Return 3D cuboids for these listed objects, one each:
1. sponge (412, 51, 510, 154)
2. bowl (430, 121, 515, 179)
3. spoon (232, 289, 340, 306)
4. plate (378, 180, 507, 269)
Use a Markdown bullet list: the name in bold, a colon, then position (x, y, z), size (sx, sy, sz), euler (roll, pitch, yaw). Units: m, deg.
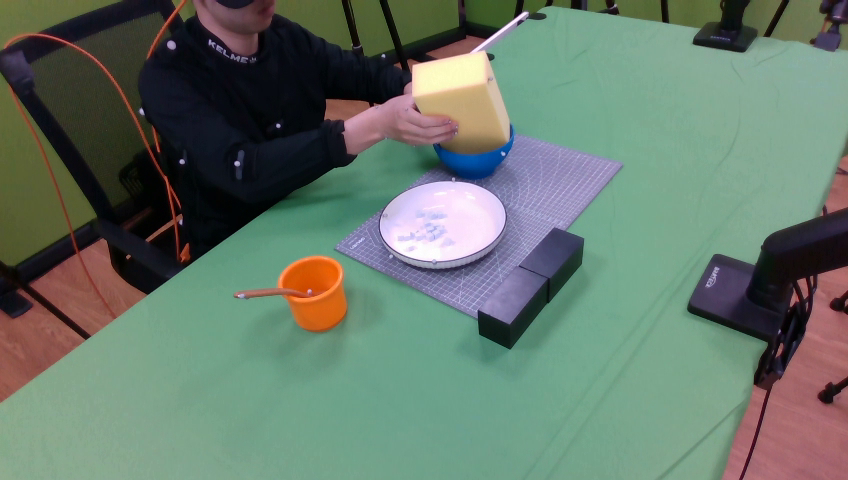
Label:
- **sponge**: position (0.067, -0.215, 1.005), size (0.118, 0.208, 0.060), euler (-6, 68, 16)
- **bowl**: position (0.090, -0.163, 1.098), size (0.151, 0.077, 0.150), euler (-3, 40, 3)
- **spoon**: position (-0.181, 0.074, 0.811), size (0.041, 0.195, 0.021), euler (16, 90, 31)
- **plate**: position (0.031, -0.022, 0.974), size (0.209, 0.038, 0.208), euler (-4, 40, 4)
